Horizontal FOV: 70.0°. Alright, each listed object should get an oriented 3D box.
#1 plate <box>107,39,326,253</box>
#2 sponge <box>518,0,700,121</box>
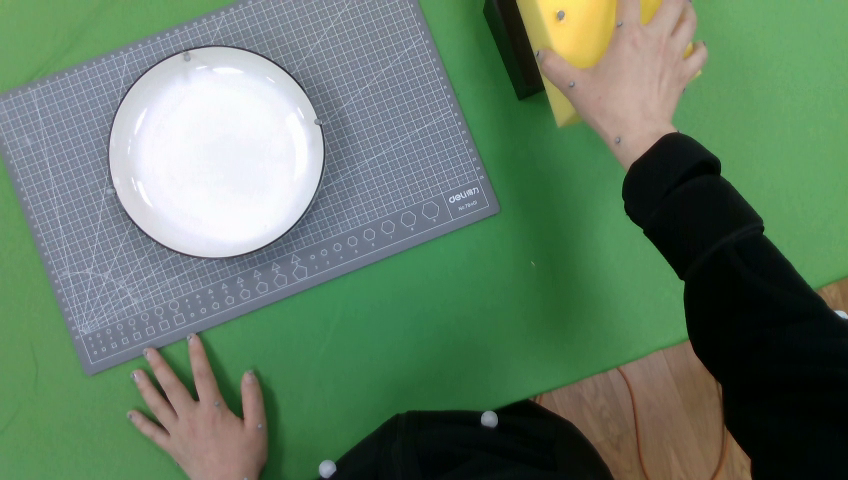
[{"bbox_3d":[-0.199,-0.090,0.598,0.209,0.038,0.209,0,89,-1],"label":"plate"},{"bbox_3d":[0.151,-0.227,0.549,0.118,0.061,0.206,-19,89,-1],"label":"sponge"}]
